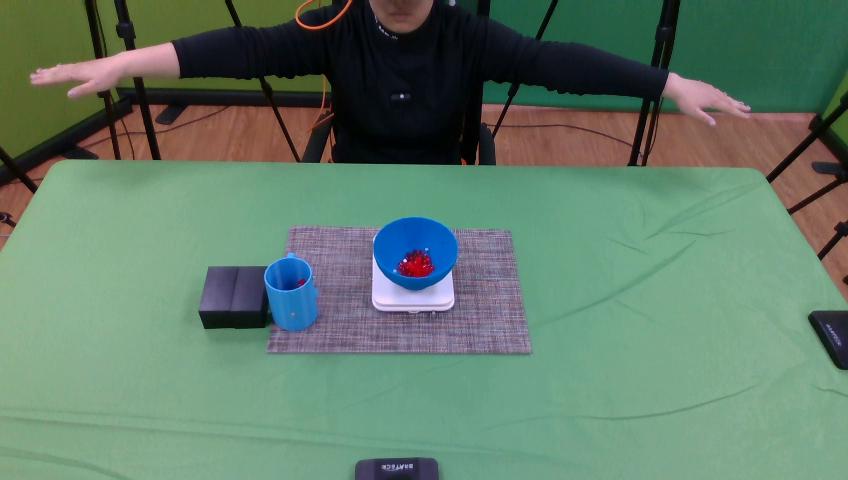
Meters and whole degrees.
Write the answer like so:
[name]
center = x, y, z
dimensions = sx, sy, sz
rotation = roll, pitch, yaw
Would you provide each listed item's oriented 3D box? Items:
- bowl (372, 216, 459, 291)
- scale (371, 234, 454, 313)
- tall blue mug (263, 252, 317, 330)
[bowl]
center = -0.015, 0.036, 1.075
dimensions = 0.151, 0.077, 0.150
rotation = 2, 46, -1
[scale]
center = -0.023, 0.050, 1.134
dimensions = 0.149, 0.032, 0.199
rotation = 1, 46, -4
[tall blue mug]
center = -0.233, 0.082, 1.036
dimensions = 0.078, 0.108, 0.106
rotation = -25, 53, -24
